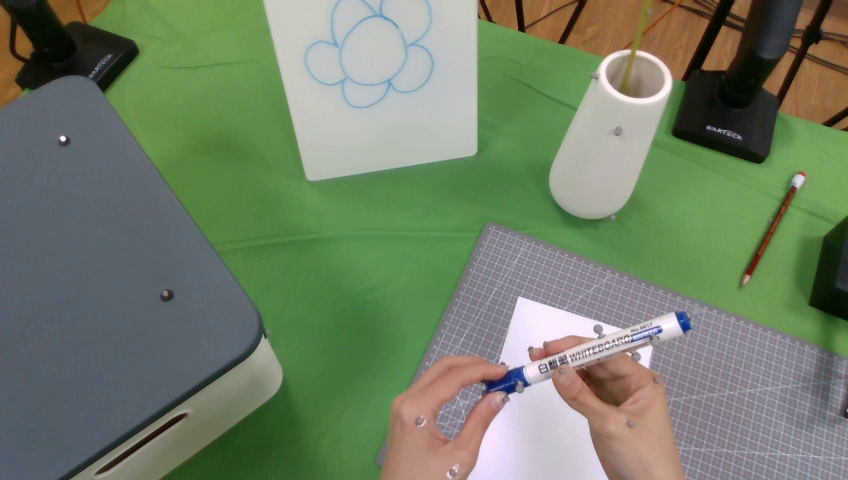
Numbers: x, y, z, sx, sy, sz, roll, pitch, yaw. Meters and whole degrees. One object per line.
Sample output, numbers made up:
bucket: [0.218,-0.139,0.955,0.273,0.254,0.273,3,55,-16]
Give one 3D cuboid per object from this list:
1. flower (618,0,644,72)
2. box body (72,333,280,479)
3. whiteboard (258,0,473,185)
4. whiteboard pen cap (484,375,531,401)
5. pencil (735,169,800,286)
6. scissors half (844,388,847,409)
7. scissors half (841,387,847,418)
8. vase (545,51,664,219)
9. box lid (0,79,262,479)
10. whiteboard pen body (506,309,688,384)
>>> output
flower: [0.192,-0.161,0.592,0.044,0.365,0.038,15,45,11]
box body: [-0.336,0.059,0.579,0.254,0.161,0.361,-36,68,-18]
whiteboard: [-0.065,-0.244,0.702,0.217,0.308,0.142,-10,43,-5]
whiteboard pen cap: [0.062,0.107,0.441,0.033,0.018,0.018,-13,59,20]
pencil: [0.408,-0.017,0.720,0.012,0.012,0.193,33,67,16]
scissors half: [0.449,0.090,0.602,0.012,0.040,0.174,20,63,31]
scissors half: [0.457,0.099,0.619,0.012,0.040,0.175,18,81,36]
vase: [0.193,-0.107,0.658,0.098,0.201,0.097,0,60,0]
box lid: [-0.337,0.022,0.515,0.263,0.015,0.368,-35,68,-19]
whiteboard pen body: [0.111,0.079,0.418,0.140,0.017,0.017,-26,59,22]
